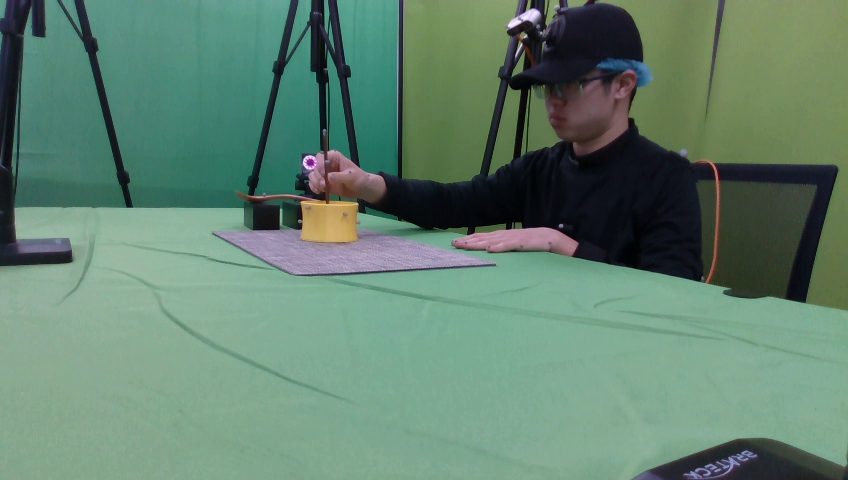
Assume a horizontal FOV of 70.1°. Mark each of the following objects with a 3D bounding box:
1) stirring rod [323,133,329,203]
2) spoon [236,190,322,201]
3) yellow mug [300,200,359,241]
[{"bbox_3d":[-0.168,-0.097,1.045,0.006,0.176,0.014,0,13,-3],"label":"stirring rod"},{"bbox_3d":[-0.290,-0.088,1.248,0.195,0.021,0.041,0,6,-32],"label":"spoon"},{"bbox_3d":[-0.156,-0.036,1.060,0.099,0.064,0.131,5,7,28],"label":"yellow mug"}]
